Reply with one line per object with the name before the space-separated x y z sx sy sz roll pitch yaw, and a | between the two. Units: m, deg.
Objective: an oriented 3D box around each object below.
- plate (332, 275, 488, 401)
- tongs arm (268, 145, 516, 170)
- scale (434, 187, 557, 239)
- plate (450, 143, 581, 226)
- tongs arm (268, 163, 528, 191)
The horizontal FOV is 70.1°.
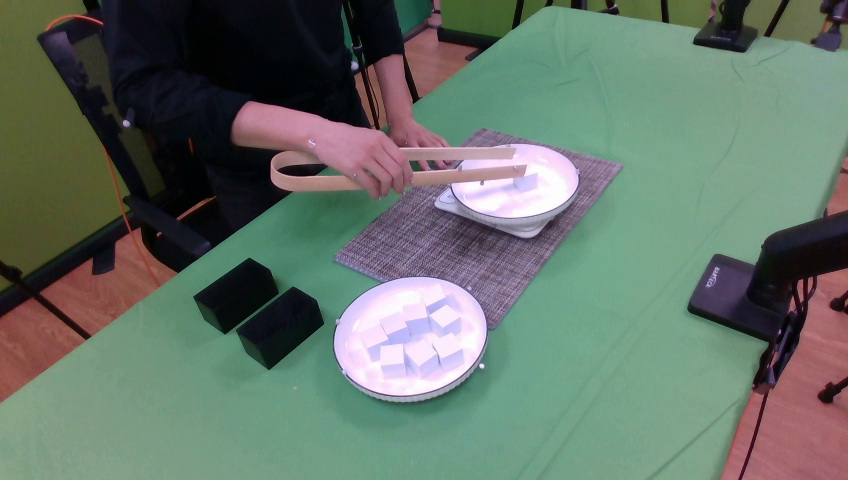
plate | -0.017 0.131 0.808 0.207 0.039 0.206 -4 41 4
tongs arm | -0.035 -0.123 0.902 0.390 0.028 0.028 -6 52 -20
scale | 0.132 -0.074 1.025 0.199 0.032 0.149 22 48 30
plate | 0.148 -0.087 0.986 0.209 0.038 0.208 -4 41 4
tongs arm | -0.027 -0.101 0.883 0.387 0.026 0.050 -7 50 -22
